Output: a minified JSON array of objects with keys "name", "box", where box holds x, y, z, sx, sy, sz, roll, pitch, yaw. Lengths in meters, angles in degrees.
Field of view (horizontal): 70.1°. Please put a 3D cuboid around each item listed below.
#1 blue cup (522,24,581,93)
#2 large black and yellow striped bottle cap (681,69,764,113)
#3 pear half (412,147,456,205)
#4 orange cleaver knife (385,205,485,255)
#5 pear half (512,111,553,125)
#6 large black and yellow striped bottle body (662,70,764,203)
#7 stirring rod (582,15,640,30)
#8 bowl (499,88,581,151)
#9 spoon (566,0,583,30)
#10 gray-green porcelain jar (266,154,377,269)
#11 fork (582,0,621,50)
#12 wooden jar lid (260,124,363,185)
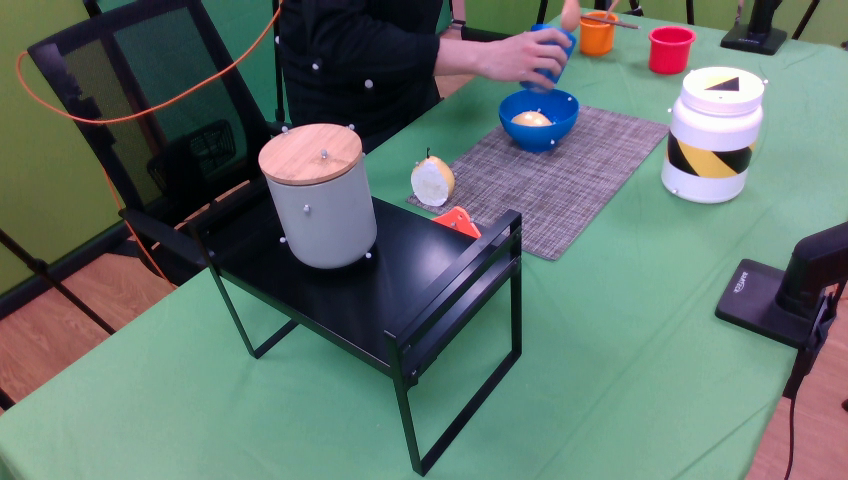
[{"name":"blue cup","box":[0.219,-0.320,1.077,0.093,0.100,0.092,16,9,-2]},{"name":"large black and yellow striped bottle cap","box":[0.453,-0.229,0.921,0.115,0.019,0.114,-4,39,4]},{"name":"pear half","box":[0.019,-0.120,1.042,0.076,0.110,0.056,11,44,16]},{"name":"orange cleaver knife","box":[0.012,-0.010,0.942,0.012,0.077,0.210,-36,19,-35]},{"name":"pear half","box":[0.212,-0.228,1.153,0.088,0.031,0.070,7,45,10]},{"name":"large black and yellow striped bottle body","box":[0.464,-0.166,0.976,0.131,0.185,0.130,-5,41,5]},{"name":"stirring rod","box":[0.419,-0.508,1.404,0.174,0.006,0.014,28,54,35]},{"name":"bowl","box":[0.220,-0.223,1.155,0.151,0.077,0.150,-4,40,4]},{"name":"spoon","box":[0.264,-0.472,1.065,0.042,0.193,0.021,-7,8,-33]},{"name":"gray-green porcelain jar","box":[-0.112,-0.039,0.685,0.106,0.127,0.105,-4,40,4]},{"name":"fork","box":[0.445,-0.539,1.438,0.207,0.019,0.028,-57,36,12]},{"name":"wooden jar lid","box":[-0.119,-0.088,0.645,0.108,0.021,0.108,-4,40,4]}]
